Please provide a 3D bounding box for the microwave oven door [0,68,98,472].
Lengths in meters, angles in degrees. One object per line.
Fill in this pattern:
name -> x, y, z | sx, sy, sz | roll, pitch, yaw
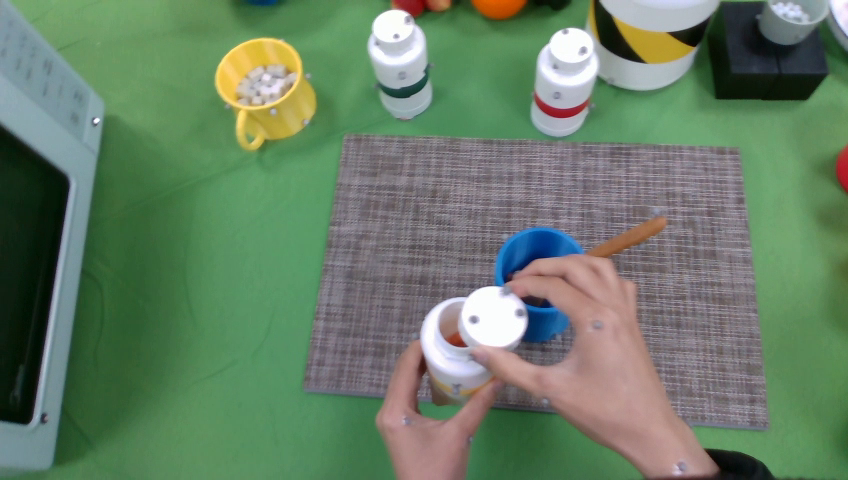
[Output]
microwave oven door -> -0.398, 0.015, 0.542 | 0.039, 0.245, 0.353 | -6, 68, 3

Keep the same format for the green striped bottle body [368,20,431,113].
green striped bottle body -> -0.027, -0.202, 0.683 | 0.063, 0.120, 0.062 | -1, 68, 4

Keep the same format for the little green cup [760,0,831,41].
little green cup -> 0.398, -0.248, 0.655 | 0.061, 0.039, 0.061 | -1, 66, 2

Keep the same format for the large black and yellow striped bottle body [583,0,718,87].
large black and yellow striped bottle body -> 0.248, -0.270, 0.652 | 0.131, 0.185, 0.130 | -2, 68, 5

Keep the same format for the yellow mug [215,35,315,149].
yellow mug -> -0.190, -0.168, 0.712 | 0.100, 0.064, 0.130 | 12, 71, 10

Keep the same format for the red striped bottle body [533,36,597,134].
red striped bottle body -> 0.151, -0.173, 0.657 | 0.063, 0.120, 0.062 | -3, 67, 7

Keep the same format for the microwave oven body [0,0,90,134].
microwave oven body -> -0.546, -0.008, 0.569 | 0.326, 0.262, 0.438 | -6, 69, 2

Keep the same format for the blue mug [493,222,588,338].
blue mug -> 0.093, 0.050, 0.577 | 0.116, 0.106, 0.081 | -32, 68, -8

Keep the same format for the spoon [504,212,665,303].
spoon -> 0.131, 0.022, 0.538 | 0.022, 0.194, 0.041 | 5, 64, -32

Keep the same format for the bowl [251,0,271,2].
bowl -> -0.217, -0.367, 0.787 | 0.151, 0.077, 0.150 | -1, 68, 4

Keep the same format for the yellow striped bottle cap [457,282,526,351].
yellow striped bottle cap -> 0.045, 0.050, 0.402 | 0.044, 0.019, 0.044 | 3, 64, -5

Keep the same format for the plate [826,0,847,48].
plate -> 0.570, -0.269, 0.704 | 0.209, 0.038, 0.207 | -2, 69, 4

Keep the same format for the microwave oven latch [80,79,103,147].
microwave oven latch -> -0.403, -0.149, 0.717 | 0.030, 0.030, 0.078 | -4, 69, 3

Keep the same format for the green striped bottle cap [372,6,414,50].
green striped bottle cap -> -0.032, -0.223, 0.635 | 0.044, 0.020, 0.044 | -1, 68, 3

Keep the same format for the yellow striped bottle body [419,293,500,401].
yellow striped bottle body -> 0.029, 0.083, 0.477 | 0.063, 0.121, 0.062 | -2, 62, 3

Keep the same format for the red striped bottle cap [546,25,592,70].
red striped bottle cap -> 0.146, -0.194, 0.608 | 0.044, 0.018, 0.044 | 0, 67, 1
